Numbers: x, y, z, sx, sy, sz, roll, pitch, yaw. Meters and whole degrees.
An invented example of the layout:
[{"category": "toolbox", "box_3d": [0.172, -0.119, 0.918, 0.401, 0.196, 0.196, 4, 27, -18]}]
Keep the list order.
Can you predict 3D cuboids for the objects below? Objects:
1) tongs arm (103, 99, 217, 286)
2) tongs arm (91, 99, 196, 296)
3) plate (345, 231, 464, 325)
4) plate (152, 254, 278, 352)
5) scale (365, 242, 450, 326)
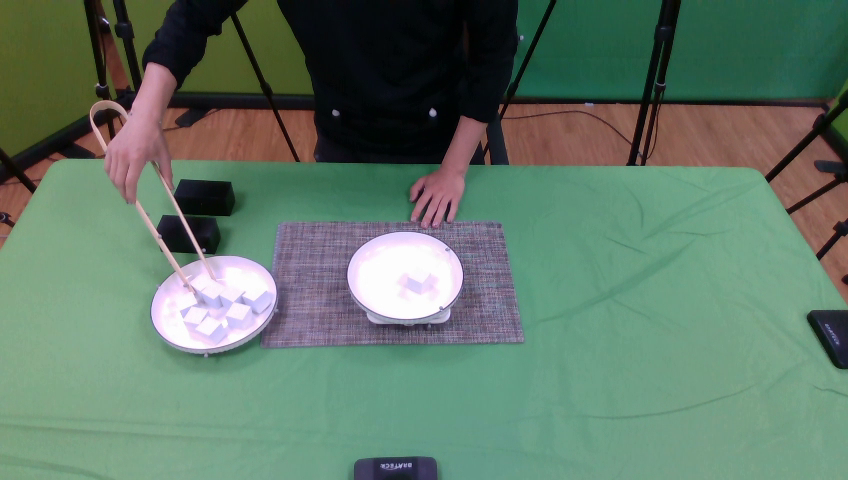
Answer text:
[{"category": "tongs arm", "box_3d": [-0.469, -0.086, 1.085, 0.028, 0.028, 0.387, -29, 87, -22]}, {"category": "tongs arm", "box_3d": [-0.489, -0.075, 1.073, 0.051, 0.026, 0.384, -33, 89, -26]}, {"category": "plate", "box_3d": [-0.034, 0.069, 1.069, 0.209, 0.038, 0.208, 2, 46, -2]}, {"category": "plate", "box_3d": [-0.357, 0.111, 1.052, 0.208, 0.039, 0.206, 2, 46, -2]}, {"category": "scale", "box_3d": [-0.032, 0.071, 1.113, 0.149, 0.032, 0.199, 0, 46, -4]}]
